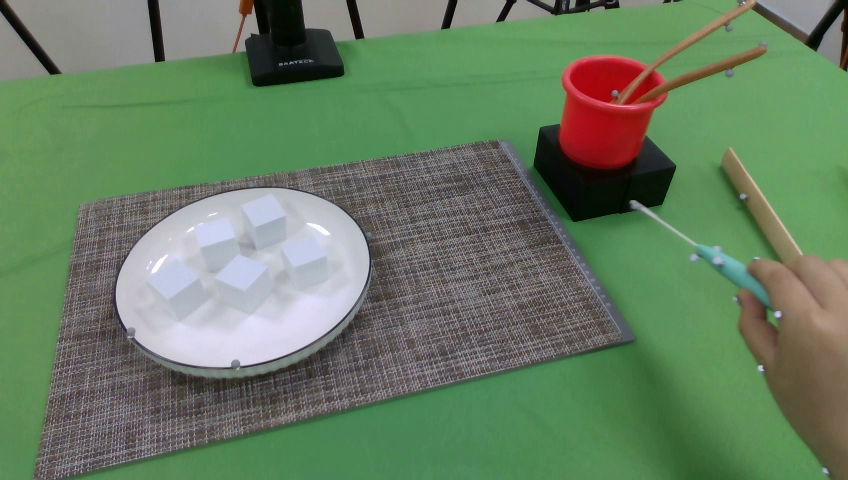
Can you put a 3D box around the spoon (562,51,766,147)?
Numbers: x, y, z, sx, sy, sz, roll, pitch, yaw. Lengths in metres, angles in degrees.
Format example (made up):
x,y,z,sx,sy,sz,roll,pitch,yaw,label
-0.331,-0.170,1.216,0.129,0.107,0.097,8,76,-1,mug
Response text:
x,y,z,sx,sy,sz,roll,pitch,yaw,label
0.206,-0.123,0.546,0.041,0.193,0.022,-42,101,-41,spoon

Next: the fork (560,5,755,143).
x,y,z,sx,sy,sz,roll,pitch,yaw,label
0.221,-0.157,0.582,0.207,0.019,0.028,-38,21,16,fork

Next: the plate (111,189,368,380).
x,y,z,sx,sy,sz,roll,pitch,yaw,label
-0.152,0.036,0.521,0.208,0.039,0.205,1,44,-1,plate

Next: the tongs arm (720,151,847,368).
x,y,z,sx,sy,sz,roll,pitch,yaw,label
0.353,0.043,0.542,0.028,0.028,0.383,-1,45,-6,tongs arm

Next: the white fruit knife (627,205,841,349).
x,y,z,sx,sy,sz,roll,pitch,yaw,label
0.212,0.015,0.449,0.027,0.016,0.205,26,15,-28,white fruit knife
